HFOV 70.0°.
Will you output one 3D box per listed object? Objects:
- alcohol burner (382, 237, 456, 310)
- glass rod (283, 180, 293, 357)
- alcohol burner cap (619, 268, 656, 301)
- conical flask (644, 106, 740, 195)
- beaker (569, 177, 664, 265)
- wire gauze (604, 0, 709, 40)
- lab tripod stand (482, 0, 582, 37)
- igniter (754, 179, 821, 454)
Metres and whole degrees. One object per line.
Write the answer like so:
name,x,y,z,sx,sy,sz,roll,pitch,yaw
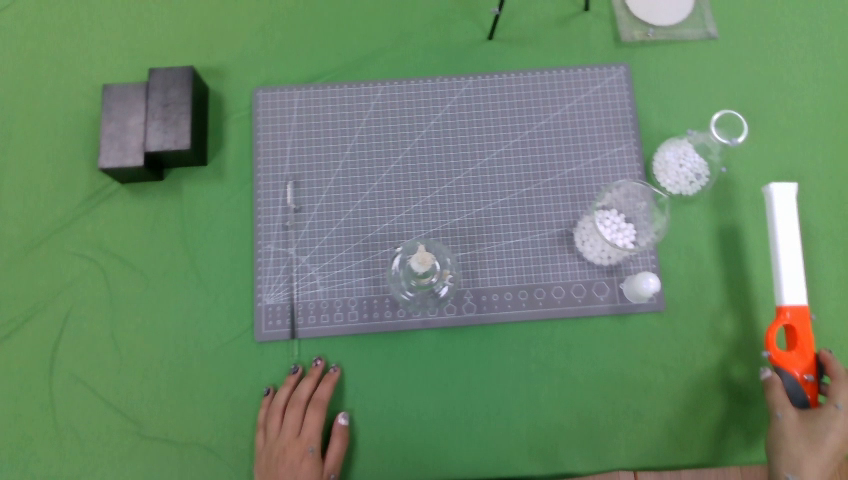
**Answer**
alcohol burner,-0.006,0.030,0.619,0.078,0.119,0.077,-1,76,3
glass rod,-0.151,0.029,0.673,0.008,0.008,0.199,-3,81,-1
alcohol burner cap,0.232,0.046,0.651,0.034,0.048,0.033,0,77,0
conical flask,0.289,-0.099,0.644,0.075,0.122,0.075,0,77,1
beaker,0.198,-0.017,0.635,0.084,0.100,0.073,-28,79,-6
wire gauze,0.281,-0.303,0.746,0.125,0.011,0.121,-6,78,-3
lab tripod stand,0.120,-0.313,0.684,0.148,0.132,0.148,0,79,0
igniter,0.367,0.074,0.615,0.057,0.025,0.275,-1,82,-5
